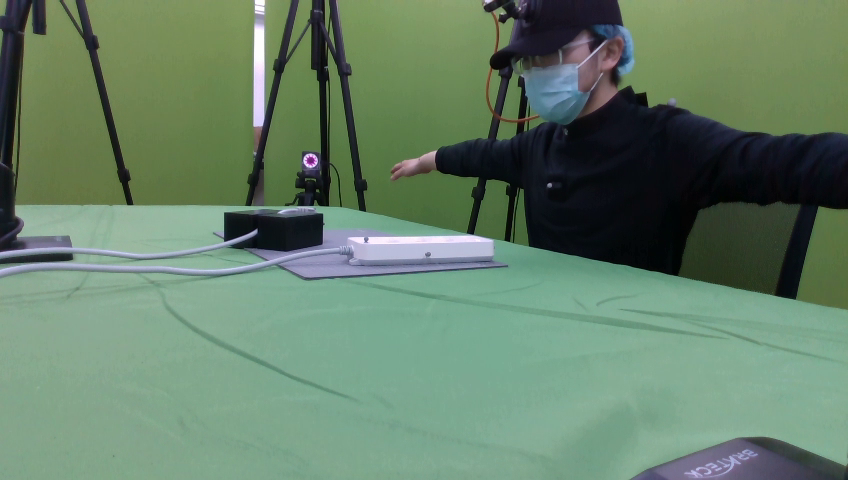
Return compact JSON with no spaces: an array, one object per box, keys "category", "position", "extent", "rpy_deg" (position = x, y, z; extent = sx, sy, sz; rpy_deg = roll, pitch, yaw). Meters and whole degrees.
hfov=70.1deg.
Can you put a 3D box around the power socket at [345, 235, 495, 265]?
[{"category":"power socket","position":[-0.003,0.012,0.851],"extent":[0.228,0.032,0.072],"rpy_deg":[-2,7,-26]}]

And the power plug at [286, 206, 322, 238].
[{"category":"power plug","position":[-0.203,-0.029,1.001],"extent":[0.073,0.052,0.035],"rpy_deg":[-1,4,-41]}]
